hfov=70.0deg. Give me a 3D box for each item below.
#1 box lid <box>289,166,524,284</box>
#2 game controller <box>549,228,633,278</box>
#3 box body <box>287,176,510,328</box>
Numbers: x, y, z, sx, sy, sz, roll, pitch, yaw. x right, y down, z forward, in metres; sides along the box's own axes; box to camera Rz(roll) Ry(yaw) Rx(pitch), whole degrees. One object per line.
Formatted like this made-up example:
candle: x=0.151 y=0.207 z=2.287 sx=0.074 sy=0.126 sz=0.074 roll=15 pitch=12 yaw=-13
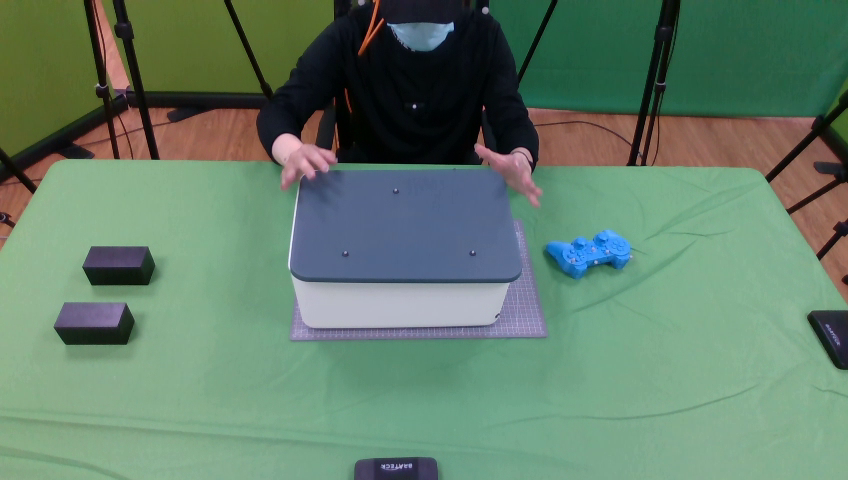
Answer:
box lid: x=-0.028 y=-0.032 z=1.013 sx=0.372 sy=0.015 sz=0.261 roll=0 pitch=48 yaw=-5
game controller: x=0.332 y=0.016 z=1.181 sx=0.155 sy=0.052 sz=0.096 roll=-12 pitch=52 yaw=-13
box body: x=-0.040 y=0.015 z=1.075 sx=0.364 sy=0.161 sz=0.252 roll=-1 pitch=47 yaw=-4
